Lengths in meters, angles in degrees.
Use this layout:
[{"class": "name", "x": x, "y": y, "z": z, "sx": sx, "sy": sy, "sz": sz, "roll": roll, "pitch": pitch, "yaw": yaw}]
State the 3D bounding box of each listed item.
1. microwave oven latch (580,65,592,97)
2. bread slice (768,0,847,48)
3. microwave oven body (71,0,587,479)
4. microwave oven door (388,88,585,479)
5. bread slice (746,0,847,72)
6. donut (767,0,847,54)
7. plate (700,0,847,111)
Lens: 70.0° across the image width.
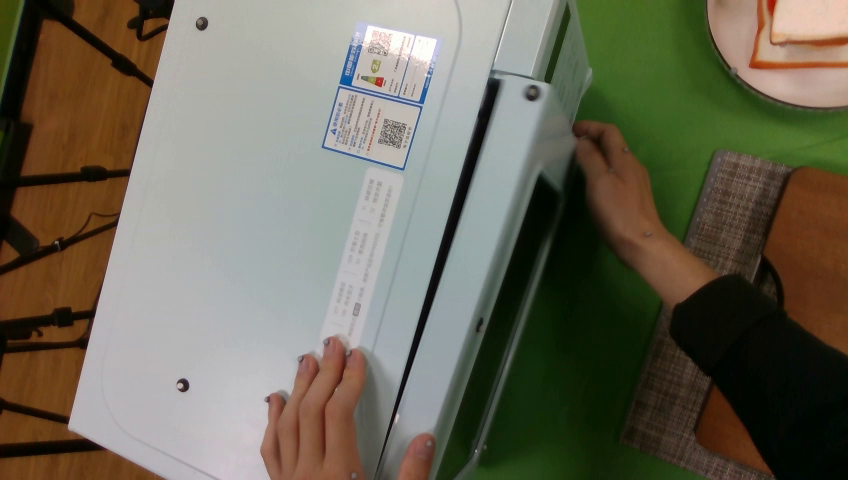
[{"class": "microwave oven latch", "x": 0.135, "y": -0.137, "z": 0.598, "sx": 0.030, "sy": 0.029, "sz": 0.079, "roll": 34, "pitch": 99, "yaw": 17}, {"class": "bread slice", "x": 0.336, "y": -0.220, "z": 0.489, "sx": 0.106, "sy": 0.018, "sz": 0.134, "roll": 0, "pitch": 81, "yaw": 20}, {"class": "microwave oven body", "x": -0.073, "y": -0.005, "z": 0.561, "sx": 0.324, "sy": 0.261, "sz": 0.441, "roll": 16, "pitch": 93, "yaw": 19}, {"class": "microwave oven door", "x": 0.053, "y": 0.076, "z": 0.509, "sx": 0.039, "sy": 0.245, "sz": 0.356, "roll": 19, "pitch": 94, "yaw": 20}, {"class": "bread slice", "x": 0.352, "y": -0.219, "z": 0.547, "sx": 0.104, "sy": 0.019, "sz": 0.131, "roll": 3, "pitch": 89, "yaw": 18}, {"class": "donut", "x": 0.347, "y": -0.210, "z": 0.517, "sx": 0.099, "sy": 0.048, "sz": 0.099, "roll": 1, "pitch": 95, "yaw": 14}, {"class": "plate", "x": 0.359, "y": -0.216, "z": 0.543, "sx": 0.207, "sy": 0.039, "sz": 0.207, "roll": -1, "pitch": 87, "yaw": 19}]
